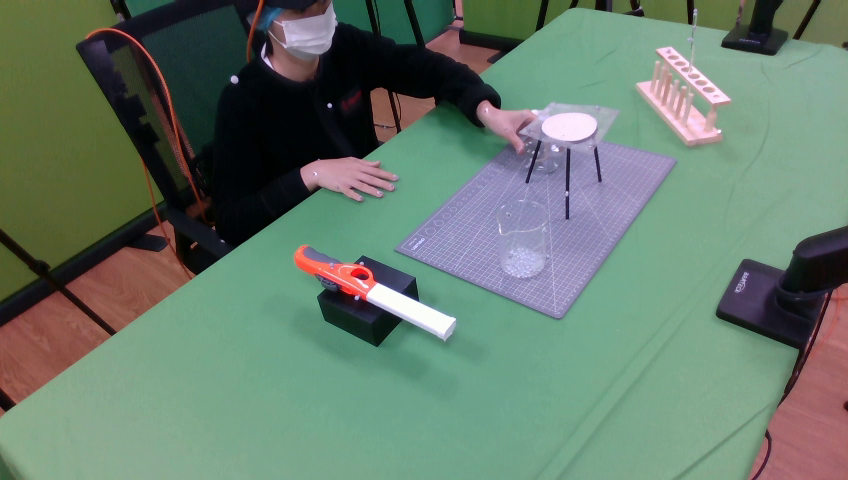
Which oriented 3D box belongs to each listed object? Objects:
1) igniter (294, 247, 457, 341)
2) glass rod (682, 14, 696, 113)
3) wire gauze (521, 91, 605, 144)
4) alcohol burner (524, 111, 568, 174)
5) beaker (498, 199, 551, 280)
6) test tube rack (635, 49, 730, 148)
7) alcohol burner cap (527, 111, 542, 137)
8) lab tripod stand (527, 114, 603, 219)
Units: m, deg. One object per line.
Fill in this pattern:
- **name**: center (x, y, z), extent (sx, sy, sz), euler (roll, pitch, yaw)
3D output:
- **igniter**: center (-0.077, 0.068, 0.831), extent (0.274, 0.025, 0.057), euler (22, 48, 27)
- **glass rod**: center (0.495, -0.326, 1.132), extent (0.008, 0.201, 0.008), euler (-8, 42, 8)
- **wire gauze**: center (0.219, -0.191, 0.948), extent (0.121, 0.011, 0.125), euler (8, 49, 13)
- **alcohol burner**: center (0.218, -0.179, 1.079), extent (0.078, 0.119, 0.077), euler (-5, 43, 5)
- **beaker**: center (0.144, 0.003, 0.884), extent (0.073, 0.101, 0.084), euler (28, 52, 36)
- **test tube rack**: center (0.497, -0.283, 1.185), extent (0.067, 0.085, 0.240), euler (-10, 40, -2)
- **alcohol burner cap**: center (0.220, -0.233, 1.200), extent (0.034, 0.048, 0.033), euler (-5, 41, 5)
- **lab tripod stand**: center (0.234, -0.129, 1.002), extent (0.148, 0.132, 0.147), euler (-6, 40, 6)
